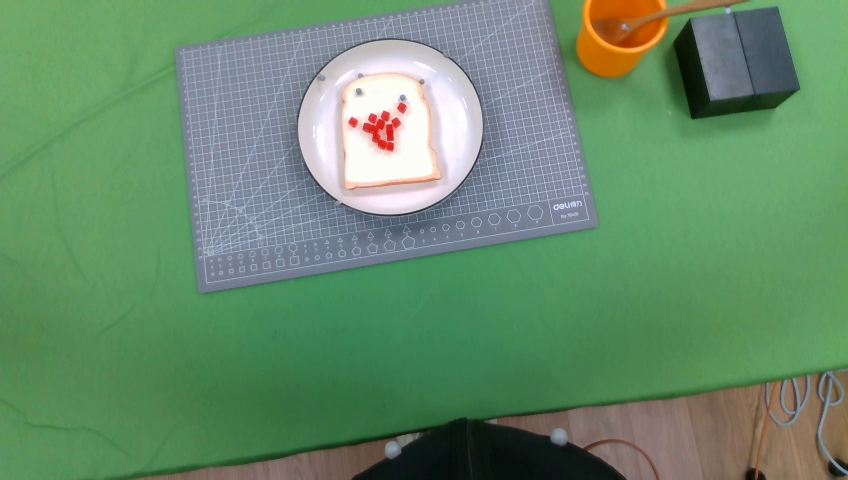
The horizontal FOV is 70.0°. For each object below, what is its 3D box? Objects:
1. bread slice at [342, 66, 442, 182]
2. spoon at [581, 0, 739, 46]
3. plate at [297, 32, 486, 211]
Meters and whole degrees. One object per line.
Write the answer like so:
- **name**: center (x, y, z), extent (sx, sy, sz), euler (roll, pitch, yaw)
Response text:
- **bread slice**: center (-0.043, -0.131, 0.683), extent (0.107, 0.018, 0.133), euler (-9, 79, -2)
- **spoon**: center (0.255, -0.242, 0.646), extent (0.022, 0.192, 0.041), euler (27, 73, -39)
- **plate**: center (-0.035, -0.131, 0.682), extent (0.209, 0.038, 0.208), euler (0, 79, 1)
